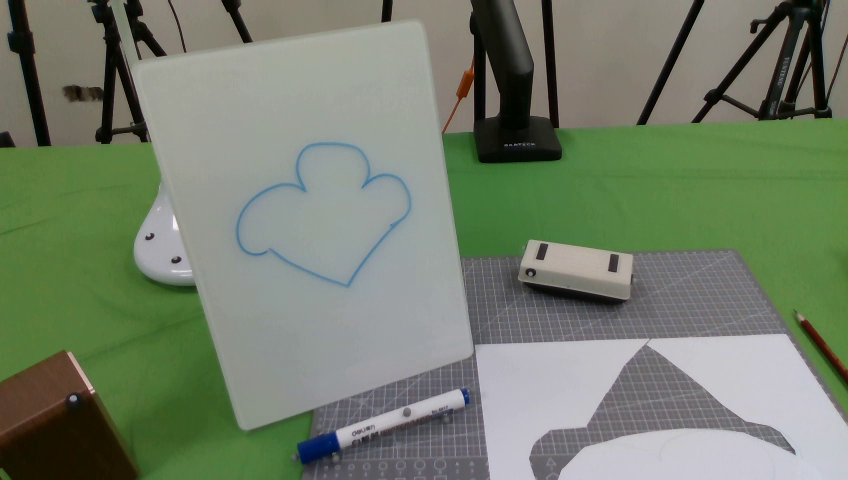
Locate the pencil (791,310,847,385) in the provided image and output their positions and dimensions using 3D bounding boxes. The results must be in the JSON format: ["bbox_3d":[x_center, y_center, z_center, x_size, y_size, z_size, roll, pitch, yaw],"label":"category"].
[{"bbox_3d":[0.375,0.126,0.530,0.012,0.012,0.192,-4,35,-2],"label":"pencil"}]

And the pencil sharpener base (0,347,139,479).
[{"bbox_3d":[-0.273,0.147,0.449,0.077,0.108,0.061,-30,45,-31],"label":"pencil sharpener base"}]

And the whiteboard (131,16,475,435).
[{"bbox_3d":[-0.097,-0.023,0.551,0.218,0.307,0.142,-15,19,-15],"label":"whiteboard"}]

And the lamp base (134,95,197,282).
[{"bbox_3d":[-0.269,-0.070,0.677,0.177,0.182,0.160,25,44,34],"label":"lamp base"}]

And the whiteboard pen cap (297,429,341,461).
[{"bbox_3d":[-0.083,0.164,0.484,0.033,0.018,0.018,-16,39,-15],"label":"whiteboard pen cap"}]

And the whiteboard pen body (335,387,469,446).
[{"bbox_3d":[-0.028,0.149,0.500,0.141,0.017,0.017,-15,39,-15],"label":"whiteboard pen body"}]

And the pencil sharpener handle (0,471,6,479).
[{"bbox_3d":[-0.309,0.160,0.412,0.030,0.068,0.035,-31,33,-31],"label":"pencil sharpener handle"}]

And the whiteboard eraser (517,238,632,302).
[{"bbox_3d":[0.158,0.032,0.633,0.112,0.042,0.055,10,39,15],"label":"whiteboard eraser"}]
